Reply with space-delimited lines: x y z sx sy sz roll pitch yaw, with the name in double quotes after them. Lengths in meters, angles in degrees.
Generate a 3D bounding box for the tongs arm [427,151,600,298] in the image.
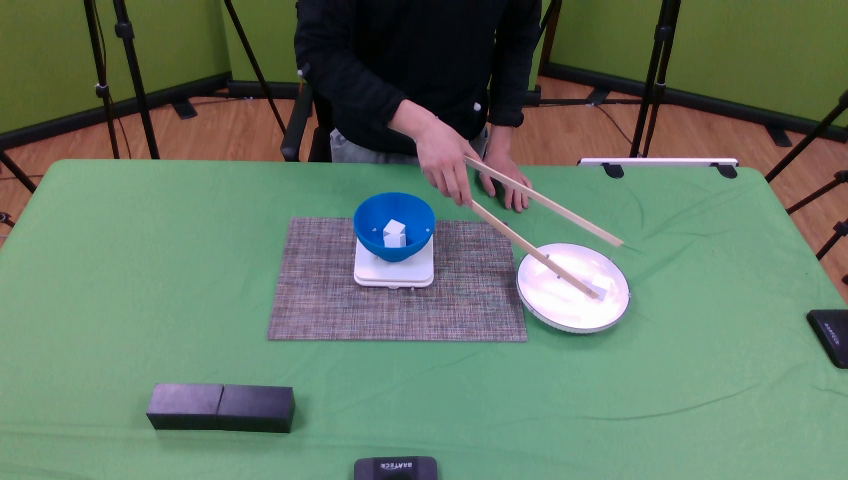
0.160 -0.027 1.080 0.385 0.026 0.050 35 68 -1 "tongs arm"

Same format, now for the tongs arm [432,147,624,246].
0.193 -0.079 1.108 0.388 0.028 0.028 27 71 -5 "tongs arm"

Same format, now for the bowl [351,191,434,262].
-0.057 -0.013 1.120 0.151 0.077 0.150 1 46 -1 "bowl"

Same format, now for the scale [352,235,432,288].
-0.060 0.010 1.171 0.149 0.032 0.199 2 46 -3 "scale"

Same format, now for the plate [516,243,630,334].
0.272 0.092 1.120 0.208 0.039 0.206 2 46 -2 "plate"
